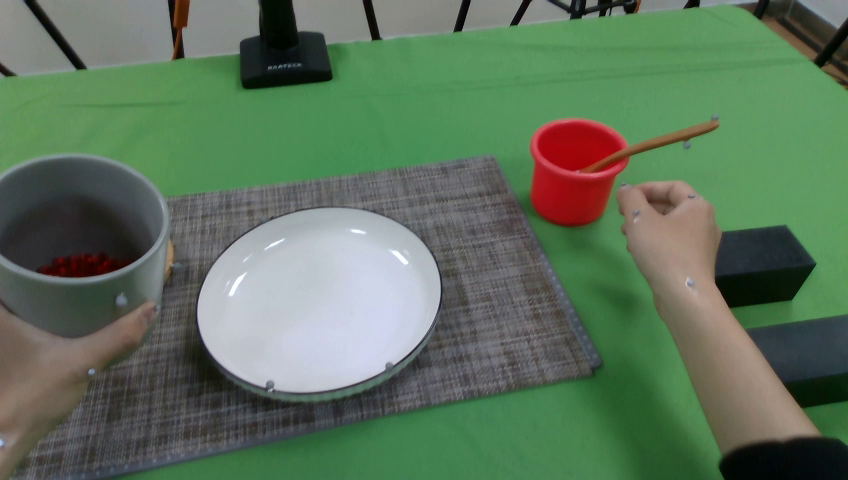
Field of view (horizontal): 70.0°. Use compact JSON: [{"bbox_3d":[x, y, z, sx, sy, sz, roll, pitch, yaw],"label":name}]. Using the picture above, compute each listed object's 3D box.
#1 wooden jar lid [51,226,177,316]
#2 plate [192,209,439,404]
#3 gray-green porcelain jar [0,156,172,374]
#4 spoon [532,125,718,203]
[{"bbox_3d":[-0.286,0.030,0.565,0.108,0.021,0.107,1,44,-1],"label":"wooden jar lid"},{"bbox_3d":[-0.091,0.055,0.531,0.208,0.039,0.205,1,45,0],"label":"plate"},{"bbox_3d":[-0.235,0.024,0.416,0.106,0.127,0.105,15,46,-16],"label":"gray-green porcelain jar"},{"bbox_3d":[0.188,-0.073,0.593,0.193,0.022,0.041,-23,27,44],"label":"spoon"}]
